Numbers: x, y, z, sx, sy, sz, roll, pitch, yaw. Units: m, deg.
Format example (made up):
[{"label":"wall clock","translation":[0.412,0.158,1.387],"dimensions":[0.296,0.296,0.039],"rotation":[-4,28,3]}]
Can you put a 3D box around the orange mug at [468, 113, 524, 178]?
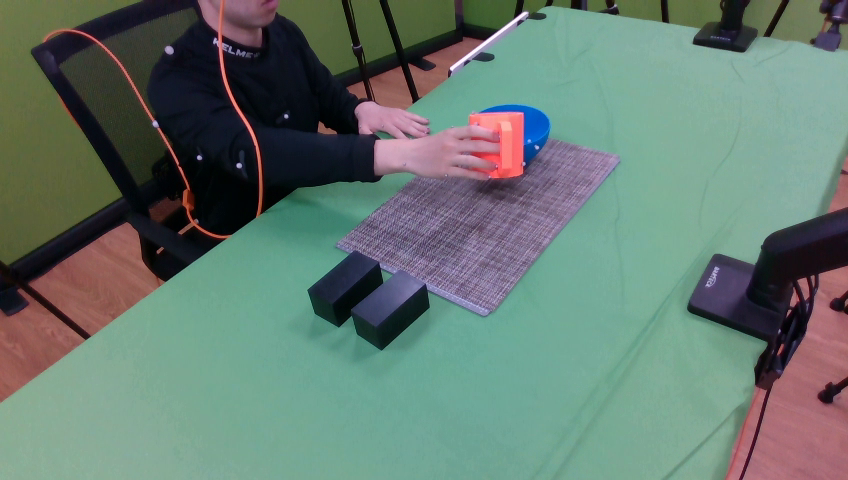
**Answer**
[{"label":"orange mug","translation":[0.116,-0.149,0.942],"dimensions":[0.084,0.101,0.126],"rotation":[-4,10,-6]}]

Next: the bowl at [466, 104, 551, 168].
[{"label":"bowl","translation":[0.155,-0.177,1.105],"dimensions":[0.151,0.077,0.150],"rotation":[-4,40,3]}]
